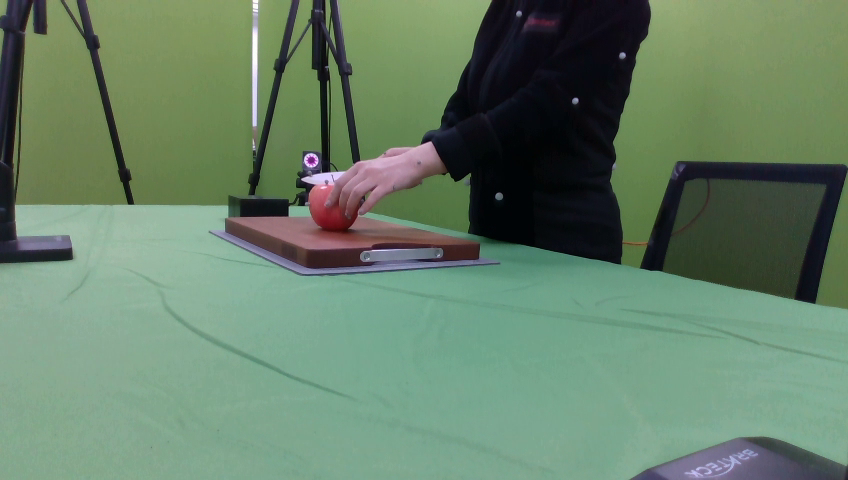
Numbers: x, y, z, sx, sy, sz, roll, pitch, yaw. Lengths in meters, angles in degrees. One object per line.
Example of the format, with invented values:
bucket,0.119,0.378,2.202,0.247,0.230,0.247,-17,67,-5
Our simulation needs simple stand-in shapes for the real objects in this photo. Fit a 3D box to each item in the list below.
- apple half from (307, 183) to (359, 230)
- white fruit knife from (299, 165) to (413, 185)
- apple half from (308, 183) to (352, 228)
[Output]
apple half,-0.137,-0.052,0.948,0.081,0.074,0.053,0,12,-38
white fruit knife,-0.107,-0.106,0.988,0.208,0.027,0.016,-8,-2,-35
apple half,-0.158,-0.058,0.978,0.082,0.081,0.032,-3,12,-35
